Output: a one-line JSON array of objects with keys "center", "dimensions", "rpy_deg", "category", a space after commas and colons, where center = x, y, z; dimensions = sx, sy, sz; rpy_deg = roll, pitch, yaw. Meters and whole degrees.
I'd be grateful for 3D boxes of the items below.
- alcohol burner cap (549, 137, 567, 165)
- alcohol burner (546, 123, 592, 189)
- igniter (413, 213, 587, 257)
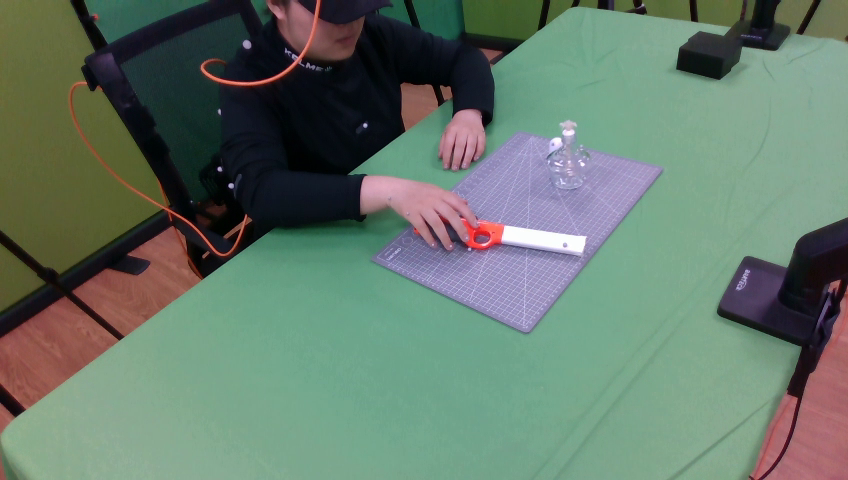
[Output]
[{"center": [0.247, -0.166, 1.114], "dimensions": [0.034, 0.048, 0.033], "rpy_deg": [-6, 40, 5], "category": "alcohol burner cap"}, {"center": [0.248, -0.147, 1.034], "dimensions": [0.078, 0.120, 0.077], "rpy_deg": [-7, 41, 6], "category": "alcohol burner"}, {"center": [0.116, -0.009, 0.959], "dimensions": [0.275, 0.025, 0.057], "rpy_deg": [8, 66, 17], "category": "igniter"}]
